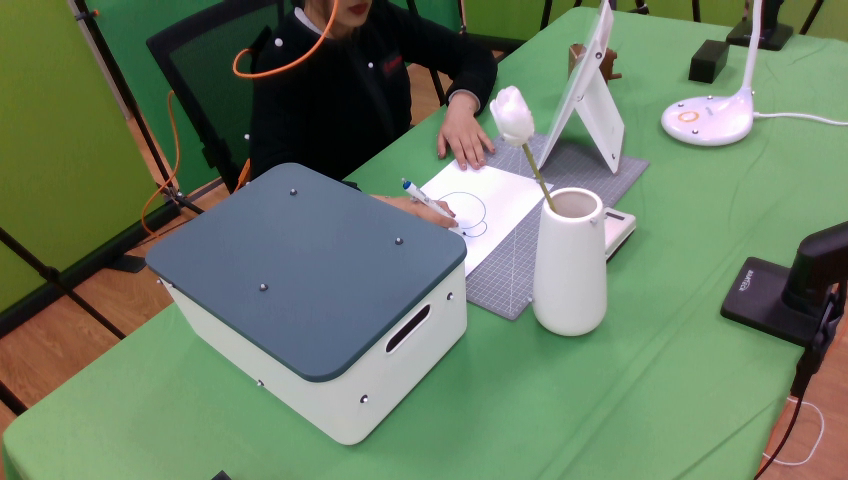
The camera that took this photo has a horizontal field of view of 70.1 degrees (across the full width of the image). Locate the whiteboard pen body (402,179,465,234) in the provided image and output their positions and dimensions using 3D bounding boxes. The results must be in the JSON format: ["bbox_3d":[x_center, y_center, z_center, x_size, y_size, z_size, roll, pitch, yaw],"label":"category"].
[{"bbox_3d":[0.019,-0.050,0.961,0.017,0.142,0.017,-37,31,27],"label":"whiteboard pen body"}]

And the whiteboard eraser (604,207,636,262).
[{"bbox_3d":[0.272,-0.003,0.919,0.055,0.042,0.113,27,51,32],"label":"whiteboard eraser"}]

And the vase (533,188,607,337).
[{"bbox_3d":[0.187,0.033,0.771,0.098,0.201,0.097,-6,41,6],"label":"vase"}]

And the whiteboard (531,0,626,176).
[{"bbox_3d":[0.320,-0.259,1.050,0.144,0.306,0.217,22,45,6],"label":"whiteboard"}]

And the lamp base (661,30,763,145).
[{"bbox_3d":[0.535,-0.287,1.096,0.179,0.181,0.159,-10,40,-4],"label":"lamp base"}]

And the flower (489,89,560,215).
[{"bbox_3d":[0.159,-0.028,0.720,0.038,0.364,0.044,-15,44,23],"label":"flower"}]

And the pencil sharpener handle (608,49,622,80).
[{"bbox_3d":[0.394,-0.367,1.253,0.030,0.068,0.036,-9,32,1],"label":"pencil sharpener handle"}]

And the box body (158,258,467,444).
[{"bbox_3d":[-0.147,0.072,0.816,0.361,0.161,0.255,24,50,33],"label":"box body"}]

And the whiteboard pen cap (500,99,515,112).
[{"bbox_3d":[0.177,-0.287,1.290,0.033,0.018,0.018,-37,47,-26],"label":"whiteboard pen cap"}]

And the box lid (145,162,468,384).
[{"bbox_3d":[-0.158,0.014,0.769,0.368,0.015,0.264,25,51,33],"label":"box lid"}]

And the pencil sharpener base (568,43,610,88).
[{"bbox_3d":[0.345,-0.352,1.263,0.077,0.107,0.061,-9,40,1],"label":"pencil sharpener base"}]
